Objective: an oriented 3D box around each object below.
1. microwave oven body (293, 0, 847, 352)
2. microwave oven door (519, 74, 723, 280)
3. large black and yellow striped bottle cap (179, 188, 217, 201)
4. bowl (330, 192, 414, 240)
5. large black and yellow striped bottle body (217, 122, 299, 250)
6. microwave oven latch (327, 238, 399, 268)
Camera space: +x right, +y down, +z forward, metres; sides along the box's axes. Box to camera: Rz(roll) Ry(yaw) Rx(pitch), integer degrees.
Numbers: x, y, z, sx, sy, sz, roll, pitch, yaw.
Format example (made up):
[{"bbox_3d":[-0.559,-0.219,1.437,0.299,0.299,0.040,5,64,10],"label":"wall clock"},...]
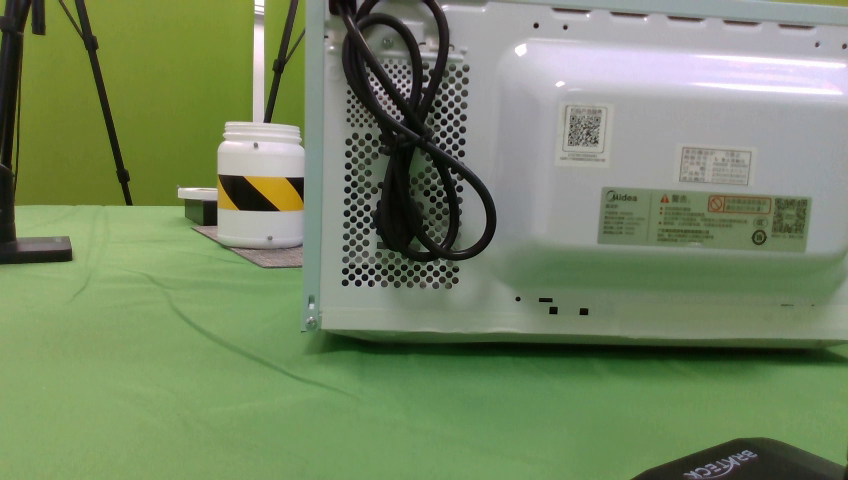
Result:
[{"bbox_3d":[0.122,-0.055,0.550,0.442,0.260,0.325,3,7,-5],"label":"microwave oven body"},{"bbox_3d":[0.255,-0.094,0.863,0.039,0.243,0.354,-1,8,-25],"label":"microwave oven door"},{"bbox_3d":[-0.434,-0.093,1.226,0.115,0.019,0.115,3,9,0],"label":"large black and yellow striped bottle cap"},{"bbox_3d":[-0.095,-0.044,1.096,0.151,0.077,0.151,3,7,0],"label":"bowl"},{"bbox_3d":[-0.250,-0.084,0.931,0.131,0.184,0.130,2,7,0],"label":"large black and yellow striped bottle body"},{"bbox_3d":[-0.069,0.015,0.694,0.079,0.029,0.030,3,7,-3],"label":"microwave oven latch"}]
